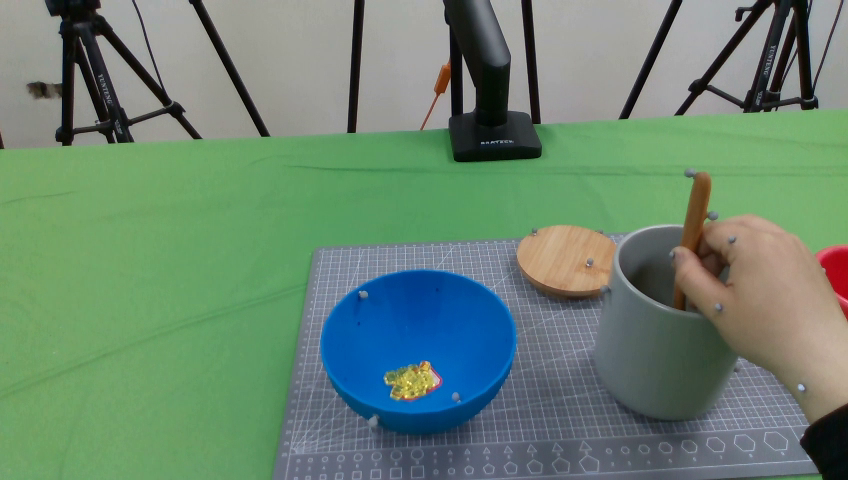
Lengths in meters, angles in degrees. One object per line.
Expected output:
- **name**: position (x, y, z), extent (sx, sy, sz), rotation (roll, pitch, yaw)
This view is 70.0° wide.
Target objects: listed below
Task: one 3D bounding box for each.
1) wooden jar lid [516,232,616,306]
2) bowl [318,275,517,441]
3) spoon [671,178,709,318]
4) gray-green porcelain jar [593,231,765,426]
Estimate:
- **wooden jar lid**: position (0.148, 0.031, 0.623), extent (0.108, 0.021, 0.107), rotation (-1, 36, 1)
- **bowl**: position (-0.004, 0.105, 0.482), extent (0.151, 0.077, 0.150), rotation (-1, 37, 1)
- **spoon**: position (0.186, 0.043, 0.436), extent (0.021, 0.195, 0.041), rotation (-23, 37, -15)
- **gray-green porcelain jar**: position (0.191, 0.074, 0.475), extent (0.106, 0.127, 0.105), rotation (-1, 37, 1)
